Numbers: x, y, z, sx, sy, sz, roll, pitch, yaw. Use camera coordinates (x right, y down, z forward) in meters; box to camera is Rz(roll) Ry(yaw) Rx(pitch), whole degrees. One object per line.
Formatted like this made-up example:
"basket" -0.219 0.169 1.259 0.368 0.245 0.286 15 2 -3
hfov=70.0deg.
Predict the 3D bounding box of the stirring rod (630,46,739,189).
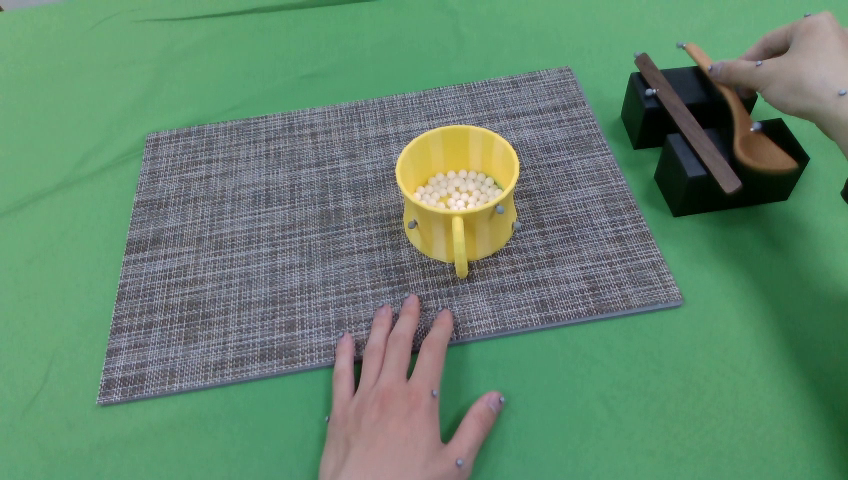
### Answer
"stirring rod" 0.215 -0.109 0.512 0.014 0.006 0.174 -36 49 25

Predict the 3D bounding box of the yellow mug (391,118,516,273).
"yellow mug" 0.026 -0.033 0.497 0.100 0.064 0.129 -3 54 3

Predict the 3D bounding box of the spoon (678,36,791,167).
"spoon" 0.257 -0.124 0.516 0.042 0.022 0.191 0 51 -6
